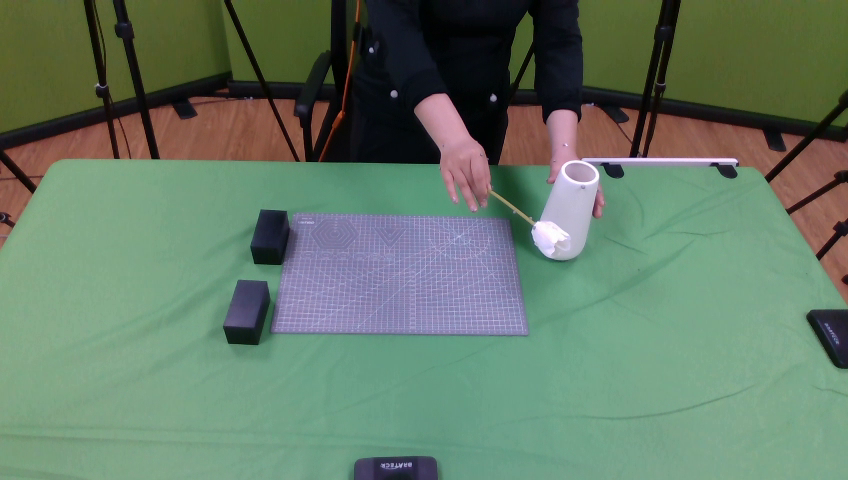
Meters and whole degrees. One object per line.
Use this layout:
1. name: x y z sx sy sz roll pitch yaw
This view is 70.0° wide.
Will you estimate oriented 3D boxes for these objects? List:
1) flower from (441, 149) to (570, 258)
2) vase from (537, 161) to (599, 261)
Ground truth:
1. flower: 0.113 -0.076 0.978 0.038 0.044 0.359 22 17 -38
2. vase: 0.270 -0.051 1.145 0.098 0.201 0.097 1 46 -1
